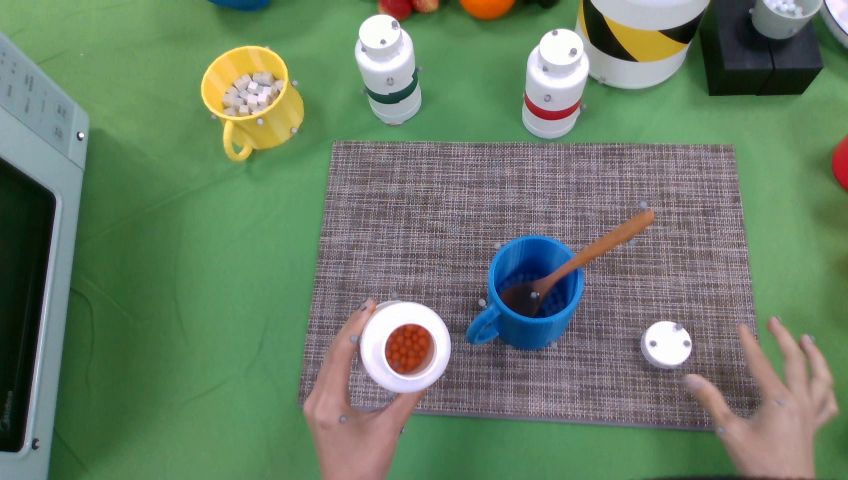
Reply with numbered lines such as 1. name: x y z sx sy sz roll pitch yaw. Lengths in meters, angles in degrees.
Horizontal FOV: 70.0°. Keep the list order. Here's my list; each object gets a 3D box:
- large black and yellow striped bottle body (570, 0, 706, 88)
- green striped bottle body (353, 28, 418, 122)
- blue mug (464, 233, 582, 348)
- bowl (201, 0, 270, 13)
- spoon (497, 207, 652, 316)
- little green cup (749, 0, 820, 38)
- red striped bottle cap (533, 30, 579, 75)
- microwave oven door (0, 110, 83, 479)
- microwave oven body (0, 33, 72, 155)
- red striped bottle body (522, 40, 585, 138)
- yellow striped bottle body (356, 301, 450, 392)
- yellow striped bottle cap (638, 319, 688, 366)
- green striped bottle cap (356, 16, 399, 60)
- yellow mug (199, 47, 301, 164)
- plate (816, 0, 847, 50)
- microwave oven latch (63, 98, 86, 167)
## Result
1. large black and yellow striped bottle body: 0.230 -0.266 0.642 0.130 0.185 0.130 -2 69 5
2. green striped bottle body: -0.042 -0.189 0.673 0.063 0.120 0.062 -2 69 4
3. blue mug: 0.087 0.060 0.569 0.116 0.106 0.081 -34 69 -8
4. bowl: -0.238 -0.348 0.774 0.151 0.077 0.150 -2 69 4
5. spoon: 0.123 0.026 0.532 0.022 0.194 0.041 0 62 -33
6. little green cup: 0.381 -0.249 0.645 0.061 0.039 0.061 -1 67 2
7. red striped bottle cap: 0.131 -0.186 0.599 0.044 0.018 0.044 0 68 1
8. microwave oven door: -0.405 0.041 0.533 0.039 0.245 0.353 -8 68 3
9. microwave oven body: -0.554 0.023 0.559 0.326 0.262 0.438 -7 69 2
10. red striped bottle body: 0.137 -0.166 0.647 0.063 0.120 0.062 -3 67 7
11. yellow striped bottle body: -0.018 0.076 0.448 0.063 0.120 0.062 1 84 -8
12. yellow striped bottle cap: 0.232 0.099 0.589 0.044 0.019 0.044 -2 68 5
13. green striped bottle cap: -0.048 -0.209 0.624 0.044 0.020 0.044 -2 68 4
14. yellow mug: -0.204 -0.150 0.701 0.100 0.064 0.130 11 71 9
15. plate: 0.552 -0.275 0.695 0.209 0.038 0.207 -2 69 5
16. microwave oven latch: -0.416 -0.124 0.706 0.030 0.030 0.078 -6 69 3
